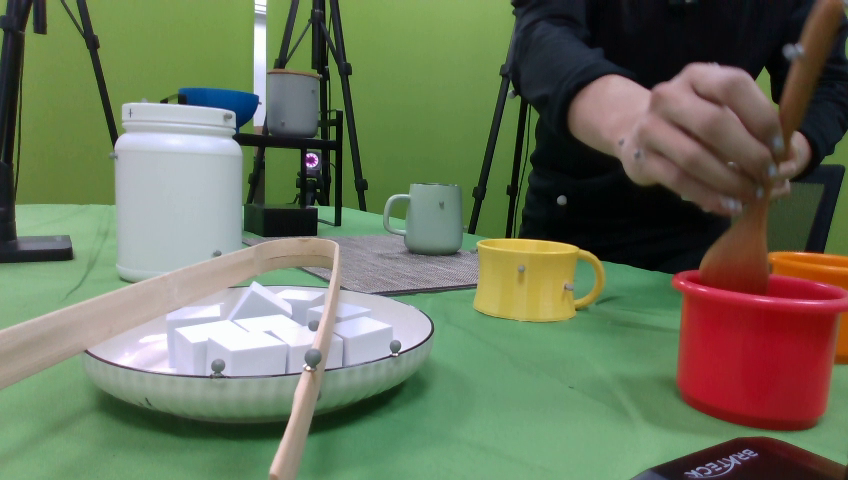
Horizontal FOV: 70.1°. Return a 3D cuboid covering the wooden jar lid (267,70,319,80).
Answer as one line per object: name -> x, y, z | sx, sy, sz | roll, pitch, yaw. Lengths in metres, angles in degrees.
wooden jar lid -> -0.275, -0.339, 1.271 | 0.108, 0.020, 0.108 | 5, 6, 0

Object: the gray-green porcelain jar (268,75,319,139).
gray-green porcelain jar -> -0.277, -0.279, 1.280 | 0.106, 0.126, 0.106 | 2, 8, 0

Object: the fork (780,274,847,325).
fork -> 0.332, 0.018, 0.443 | 0.028, 0.018, 0.207 | -2, -35, -16

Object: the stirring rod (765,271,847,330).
stirring rod -> 0.352, 0.020, 0.481 | 0.176, 0.006, 0.014 | -40, -8, 17

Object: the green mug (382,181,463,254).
green mug -> -0.001, -0.036, 0.922 | 0.126, 0.105, 0.092 | 0, 8, -16

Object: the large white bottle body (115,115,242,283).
large white bottle body -> -0.270, -0.051, 0.673 | 0.131, 0.184, 0.130 | 2, 8, 0

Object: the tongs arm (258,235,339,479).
tongs arm -> -0.074, 0.040, 0.345 | 0.051, 0.026, 0.384 | -1, 10, -3

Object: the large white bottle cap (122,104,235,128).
large white bottle cap -> -0.266, -0.135, 0.663 | 0.115, 0.018, 0.115 | 3, 7, 0

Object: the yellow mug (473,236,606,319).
yellow mug -> 0.114, 0.034, 0.590 | 0.131, 0.064, 0.100 | 2, 7, -7

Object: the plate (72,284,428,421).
plate -> -0.102, 0.067, 0.381 | 0.208, 0.039, 0.207 | 2, 7, 0

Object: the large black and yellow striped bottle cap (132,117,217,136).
large black and yellow striped bottle cap -> -0.359, -0.164, 0.875 | 0.115, 0.019, 0.115 | 2, 6, 0

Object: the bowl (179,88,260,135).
bowl -> -0.400, -0.248, 1.188 | 0.151, 0.077, 0.151 | 3, 6, 0

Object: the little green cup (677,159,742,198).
little green cup -> 0.290, -0.063, 0.619 | 0.061, 0.038, 0.061 | 1, 6, 0

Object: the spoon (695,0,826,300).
spoon -> 0.192, -0.045, 0.344 | 0.041, 0.194, 0.022 | 25, 35, 37

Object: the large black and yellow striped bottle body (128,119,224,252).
large black and yellow striped bottle body -> -0.361, -0.081, 0.887 | 0.131, 0.184, 0.130 | 2, 8, 0

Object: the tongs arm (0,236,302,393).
tongs arm -> -0.157, 0.038, 0.347 | 0.028, 0.028, 0.388 | -3, 8, 11
